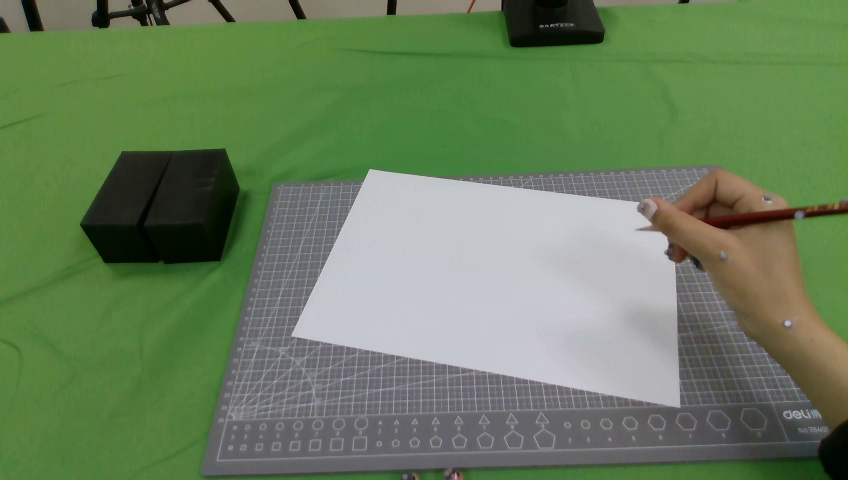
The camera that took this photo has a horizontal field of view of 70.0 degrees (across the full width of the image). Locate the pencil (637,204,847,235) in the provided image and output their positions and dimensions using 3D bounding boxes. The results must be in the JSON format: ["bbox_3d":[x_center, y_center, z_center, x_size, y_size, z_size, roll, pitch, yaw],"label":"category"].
[{"bbox_3d":[0.226,-0.015,0.382,0.193,0.012,0.012,-8,34,45],"label":"pencil"}]
